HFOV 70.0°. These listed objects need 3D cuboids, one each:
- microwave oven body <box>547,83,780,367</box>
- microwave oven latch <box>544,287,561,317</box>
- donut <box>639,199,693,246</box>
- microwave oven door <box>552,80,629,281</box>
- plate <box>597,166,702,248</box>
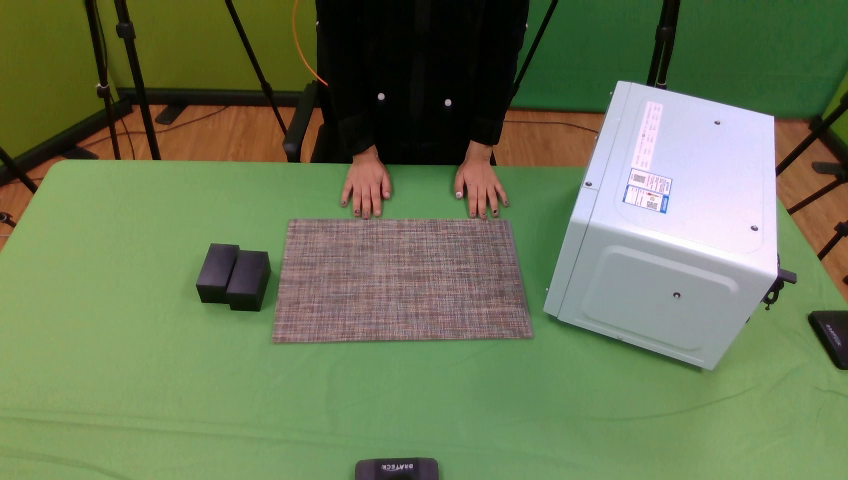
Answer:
[{"bbox_3d":[0.445,-0.041,1.101,0.325,0.261,0.440,17,47,13],"label":"microwave oven body"},{"bbox_3d":[0.237,0.098,1.087,0.030,0.029,0.079,17,47,13],"label":"microwave oven latch"},{"bbox_3d":[0.462,-0.034,1.159,0.099,0.048,0.098,0,62,0],"label":"donut"},{"bbox_3d":[0.324,-0.116,1.156,0.039,0.245,0.354,18,48,13],"label":"microwave oven door"},{"bbox_3d":[0.432,-0.061,1.175,0.209,0.038,0.208,8,47,-8],"label":"plate"}]
